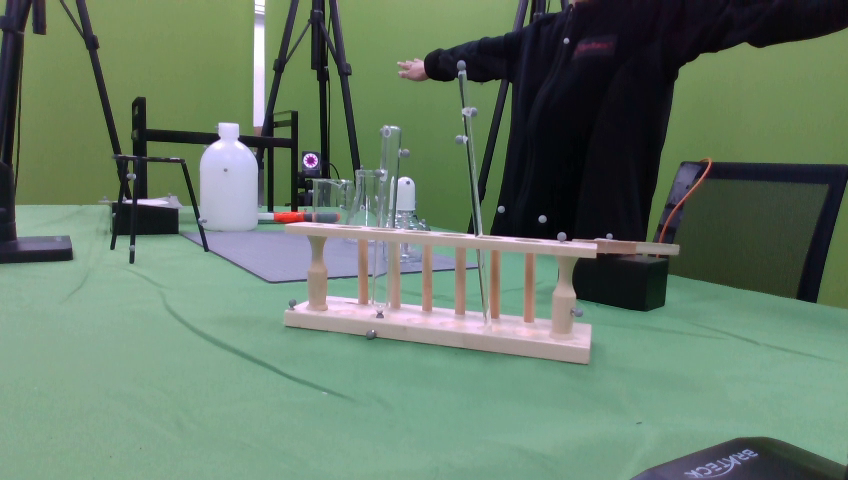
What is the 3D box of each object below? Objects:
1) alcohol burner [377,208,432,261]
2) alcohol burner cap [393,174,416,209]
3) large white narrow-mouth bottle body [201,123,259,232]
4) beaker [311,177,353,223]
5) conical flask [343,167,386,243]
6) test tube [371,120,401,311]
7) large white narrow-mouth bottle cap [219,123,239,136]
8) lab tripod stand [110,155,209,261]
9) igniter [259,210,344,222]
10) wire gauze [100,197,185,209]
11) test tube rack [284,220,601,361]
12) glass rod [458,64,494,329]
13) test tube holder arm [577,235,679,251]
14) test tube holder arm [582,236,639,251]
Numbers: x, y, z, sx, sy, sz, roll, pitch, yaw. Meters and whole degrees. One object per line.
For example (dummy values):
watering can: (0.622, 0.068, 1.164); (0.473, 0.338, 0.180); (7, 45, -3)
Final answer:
alcohol burner: (-0.027, -0.031, 0.838); (0.078, 0.119, 0.078); (0, 6, 0)
alcohol burner cap: (-0.025, -0.067, 0.833); (0.034, 0.048, 0.034); (5, 12, -1)
large white narrow-mouth bottle body: (-0.358, -0.116, 1.116); (0.102, 0.194, 0.102); (2, 8, 0)
beaker: (-0.167, -0.064, 1.106); (0.074, 0.100, 0.083); (-2, 9, -27)
conical flask: (-0.096, -0.059, 1.001); (0.075, 0.122, 0.075); (2, 8, 0)
test tube: (-0.030, -0.018, 0.474); (0.017, 0.150, 0.017); (4, 5, 0)
large white narrow-mouth bottle cap: (-0.356, -0.201, 1.104); (0.038, 0.024, 0.037); (2, 8, 0)
lab tripod stand: (-0.361, -0.046, 0.806); (0.148, 0.131, 0.148); (2, 5, 0)
igniter: (-0.303, -0.049, 1.258); (0.278, 0.025, 0.057); (-2, -2, -28)
wire gauze: (-0.469, -0.062, 1.008); (0.126, 0.011, 0.121); (-2, 8, -25)
test tube rack: (0.013, 0.032, 0.482); (0.242, 0.085, 0.067); (4, 7, 16)
glass rod: (0.039, -0.029, 0.449); (0.008, 0.199, 0.008); (-7, 9, 1)
test tube holder arm: (0.227, 0.004, 0.661); (0.179, 0.015, 0.013); (1, 13, -39)
test tube holder arm: (0.194, 0.004, 0.629); (0.088, 0.015, 0.010); (2, 13, -38)
